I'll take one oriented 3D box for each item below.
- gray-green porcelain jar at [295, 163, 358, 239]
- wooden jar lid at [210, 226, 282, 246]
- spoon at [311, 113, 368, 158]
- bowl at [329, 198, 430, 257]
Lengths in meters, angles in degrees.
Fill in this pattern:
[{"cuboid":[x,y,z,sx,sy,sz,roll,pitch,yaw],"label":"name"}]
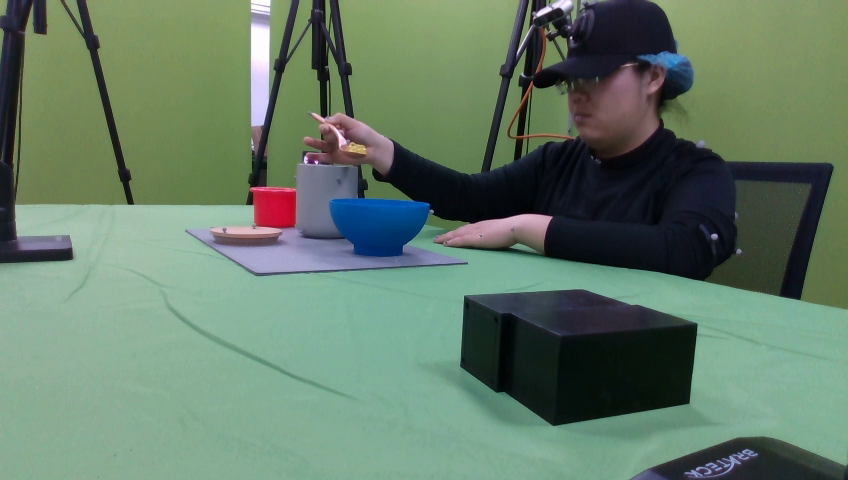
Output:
[{"cuboid":[-0.170,-0.069,1.054,0.106,0.126,0.106,3,7,0],"label":"gray-green porcelain jar"},{"cuboid":[-0.279,-0.007,0.951,0.108,0.020,0.108,2,8,0],"label":"wooden jar lid"},{"cuboid":[-0.150,-0.182,1.033,0.042,0.021,0.193,4,31,-38],"label":"spoon"},{"cuboid":[-0.067,-0.019,0.895,0.151,0.077,0.151,3,7,0],"label":"bowl"}]
